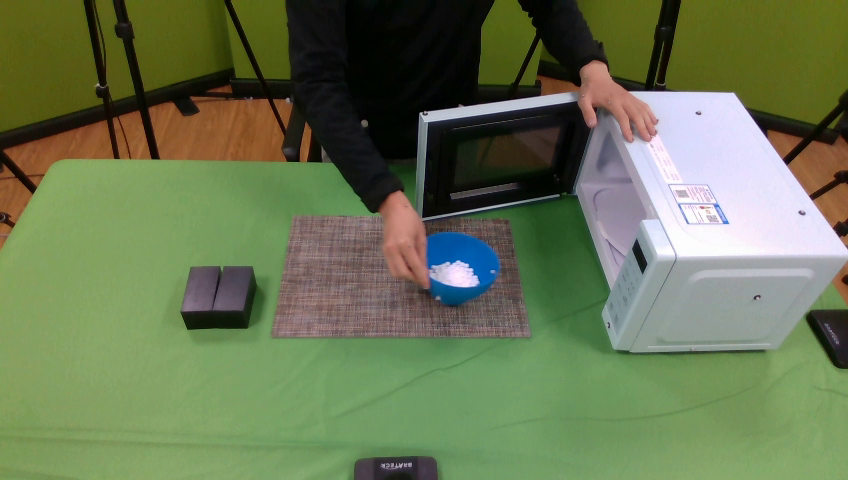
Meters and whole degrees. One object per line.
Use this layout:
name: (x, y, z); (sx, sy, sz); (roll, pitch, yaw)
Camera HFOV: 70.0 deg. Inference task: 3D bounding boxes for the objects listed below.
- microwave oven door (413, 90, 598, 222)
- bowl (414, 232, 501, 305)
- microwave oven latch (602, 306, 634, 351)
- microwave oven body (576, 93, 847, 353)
microwave oven door: (0.157, -0.165, 1.198); (0.356, 0.245, 0.039); (-11, 47, -14)
bowl: (0.053, 0.061, 1.067); (0.151, 0.077, 0.150); (6, 38, -5)
microwave oven latch: (0.332, 0.153, 1.044); (0.030, 0.029, 0.078); (0, 45, -4)
microwave oven body: (0.475, -0.041, 1.109); (0.326, 0.261, 0.438); (-1, 45, -4)
